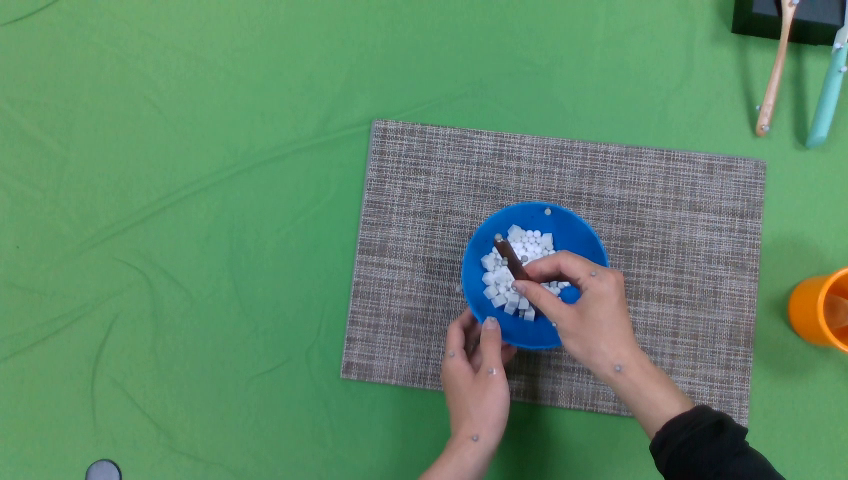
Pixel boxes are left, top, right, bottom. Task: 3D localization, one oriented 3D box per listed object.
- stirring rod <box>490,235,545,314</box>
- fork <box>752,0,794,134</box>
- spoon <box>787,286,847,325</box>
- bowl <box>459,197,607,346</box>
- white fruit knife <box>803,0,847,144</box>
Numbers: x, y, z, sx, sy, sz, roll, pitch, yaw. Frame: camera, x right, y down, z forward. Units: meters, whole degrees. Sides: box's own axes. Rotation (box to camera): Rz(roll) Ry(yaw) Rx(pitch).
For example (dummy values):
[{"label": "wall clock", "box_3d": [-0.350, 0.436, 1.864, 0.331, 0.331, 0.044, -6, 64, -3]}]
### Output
[{"label": "stirring rod", "box_3d": [0.092, 0.037, 0.577, 0.014, 0.178, 0.006, 0, 63, 24]}, {"label": "fork", "box_3d": [0.387, -0.221, 0.662, 0.028, 0.018, 0.208, 4, 105, 0]}, {"label": "spoon", "box_3d": [0.471, 0.074, 0.602, 0.022, 0.192, 0.041, 12, 84, -42]}, {"label": "bowl", "box_3d": [0.111, 0.035, 0.645, 0.151, 0.077, 0.151, 0, 85, 2]}, {"label": "white fruit knife", "box_3d": [0.448, -0.209, 0.658, 0.016, 0.027, 0.208, 8, 101, 0]}]
